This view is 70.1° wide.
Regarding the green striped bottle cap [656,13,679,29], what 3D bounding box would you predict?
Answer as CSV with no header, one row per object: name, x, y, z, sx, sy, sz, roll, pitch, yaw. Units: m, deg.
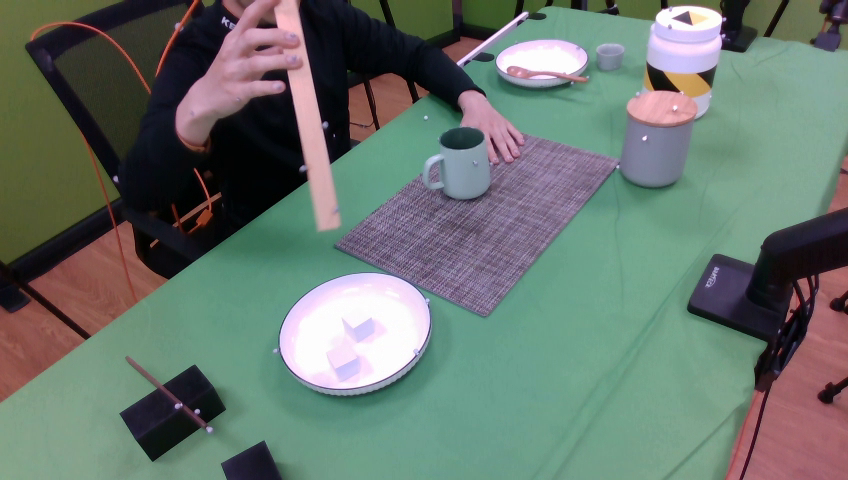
green striped bottle cap,0.515,-0.463,1.278,0.044,0.020,0.044,-6,42,6

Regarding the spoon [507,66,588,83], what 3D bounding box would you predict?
spoon,0.265,-0.357,1.311,0.192,0.022,0.042,18,47,38

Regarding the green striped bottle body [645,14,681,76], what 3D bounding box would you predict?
green striped bottle body,0.520,-0.424,1.312,0.063,0.120,0.063,-4,41,4

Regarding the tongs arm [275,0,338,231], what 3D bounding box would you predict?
tongs arm,-0.144,-0.201,0.694,0.026,0.384,0.050,-10,5,-5

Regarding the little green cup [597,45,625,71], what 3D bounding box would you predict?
little green cup,0.422,-0.413,1.375,0.061,0.039,0.061,-3,41,3

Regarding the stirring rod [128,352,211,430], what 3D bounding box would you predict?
stirring rod,-0.311,0.180,0.731,0.175,0.014,0.006,26,55,31

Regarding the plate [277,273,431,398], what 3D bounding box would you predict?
plate,-0.091,0.129,0.821,0.207,0.039,0.206,-4,40,4

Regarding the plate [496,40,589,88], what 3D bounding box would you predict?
plate,0.269,-0.397,1.381,0.209,0.038,0.208,-4,41,4

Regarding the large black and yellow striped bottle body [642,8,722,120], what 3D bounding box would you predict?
large black and yellow striped bottle body,0.493,-0.334,1.161,0.131,0.185,0.130,-4,41,4

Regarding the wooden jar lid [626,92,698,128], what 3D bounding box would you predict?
wooden jar lid,0.384,-0.207,0.980,0.108,0.021,0.108,-6,39,5

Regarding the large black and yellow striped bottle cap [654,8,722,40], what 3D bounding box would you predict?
large black and yellow striped bottle cap,0.483,-0.397,1.108,0.115,0.019,0.114,-3,41,3

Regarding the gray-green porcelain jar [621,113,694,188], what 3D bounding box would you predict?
gray-green porcelain jar,0.390,-0.160,1.020,0.106,0.127,0.105,-4,41,4

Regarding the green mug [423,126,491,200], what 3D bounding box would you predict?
green mug,0.055,-0.125,1.039,0.126,0.105,0.091,-25,44,-19

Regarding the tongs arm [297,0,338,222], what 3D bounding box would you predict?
tongs arm,-0.153,-0.208,0.762,0.028,0.388,0.028,-9,14,-2
